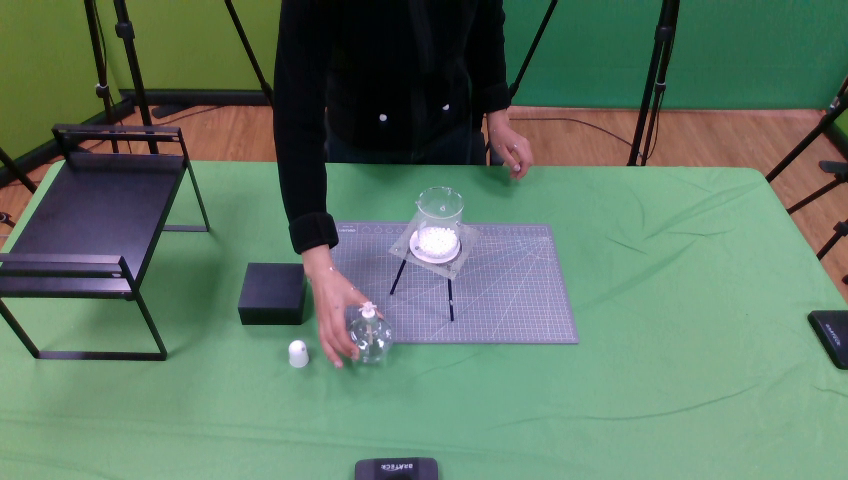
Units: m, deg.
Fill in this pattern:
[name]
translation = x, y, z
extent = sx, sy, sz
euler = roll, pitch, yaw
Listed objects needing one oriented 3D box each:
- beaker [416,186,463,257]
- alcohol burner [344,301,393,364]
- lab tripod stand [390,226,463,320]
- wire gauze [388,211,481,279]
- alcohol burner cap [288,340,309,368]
[beaker]
translation = 0.024, -0.029, 0.984
extent = 0.074, 0.101, 0.083
euler = 19, 49, 14
[alcohol burner]
translation = -0.090, 0.141, 0.964
extent = 0.078, 0.120, 0.077
euler = -1, 43, 1
[lab tripod stand]
translation = 0.014, 0.053, 1.063
extent = 0.148, 0.132, 0.147
euler = 1, 48, -1
[wire gauze]
translation = 0.018, 0.003, 1.020
extent = 0.125, 0.011, 0.121
euler = 20, 47, 18
[alcohol burner cap]
translation = -0.207, 0.183, 0.991
extent = 0.034, 0.048, 0.033
euler = 2, 46, -2
